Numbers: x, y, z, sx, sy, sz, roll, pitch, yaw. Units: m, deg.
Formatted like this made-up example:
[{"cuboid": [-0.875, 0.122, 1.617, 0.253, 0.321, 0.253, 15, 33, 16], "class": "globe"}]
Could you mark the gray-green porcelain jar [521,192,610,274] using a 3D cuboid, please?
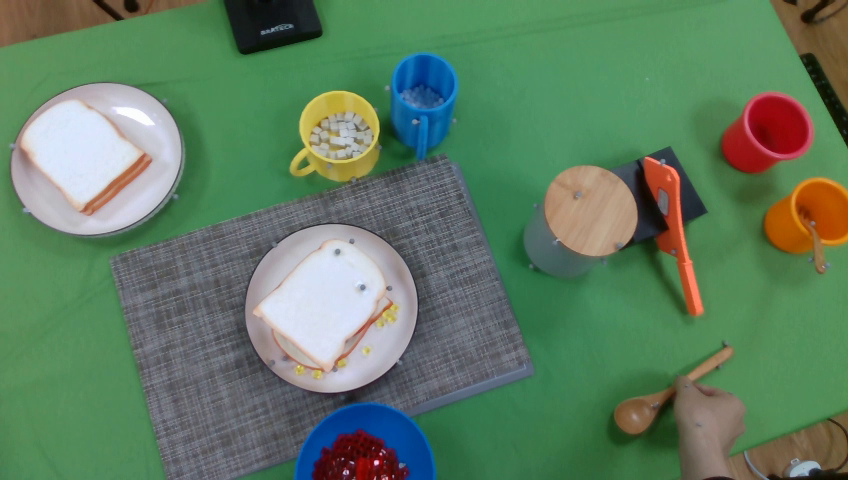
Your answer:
[{"cuboid": [0.181, -0.018, 0.748, 0.106, 0.127, 0.105, 1, 75, -5], "class": "gray-green porcelain jar"}]

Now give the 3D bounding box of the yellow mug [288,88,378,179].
[{"cuboid": [-0.121, -0.128, 0.783, 0.131, 0.064, 0.099, -39, 81, -12], "class": "yellow mug"}]

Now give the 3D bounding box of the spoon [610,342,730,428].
[{"cuboid": [0.313, 0.177, 0.760, 0.194, 0.022, 0.041, -28, 62, -12], "class": "spoon"}]

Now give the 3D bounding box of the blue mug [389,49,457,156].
[{"cuboid": [-0.005, -0.167, 0.783, 0.082, 0.106, 0.116, 3, 75, -4], "class": "blue mug"}]

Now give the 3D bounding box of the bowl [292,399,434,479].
[{"cuboid": [-0.067, 0.255, 0.679, 0.151, 0.077, 0.150, 1, 75, -5], "class": "bowl"}]

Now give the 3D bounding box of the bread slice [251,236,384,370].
[{"cuboid": [-0.112, 0.061, 0.682, 0.107, 0.018, 0.134, 37, 68, -1], "class": "bread slice"}]

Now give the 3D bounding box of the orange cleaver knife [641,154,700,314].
[{"cuboid": [0.315, -0.008, 0.779, 0.012, 0.076, 0.212, -19, 104, -9], "class": "orange cleaver knife"}]

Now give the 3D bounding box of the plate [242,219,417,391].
[{"cuboid": [-0.113, 0.077, 0.739, 0.209, 0.038, 0.208, 1, 75, -4], "class": "plate"}]

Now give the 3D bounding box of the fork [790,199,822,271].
[{"cuboid": [0.481, -0.010, 0.759, 0.028, 0.018, 0.207, 45, 32, 1], "class": "fork"}]

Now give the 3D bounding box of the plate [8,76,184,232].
[{"cuboid": [-0.408, -0.107, 0.767, 0.208, 0.039, 0.206, 1, 75, -5], "class": "plate"}]

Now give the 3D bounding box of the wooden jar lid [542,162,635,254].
[{"cuboid": [0.185, -0.035, 0.687, 0.108, 0.021, 0.108, 2, 77, -7], "class": "wooden jar lid"}]

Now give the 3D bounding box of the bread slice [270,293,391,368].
[{"cuboid": [-0.119, 0.089, 0.738, 0.104, 0.019, 0.131, 37, 73, 6], "class": "bread slice"}]
